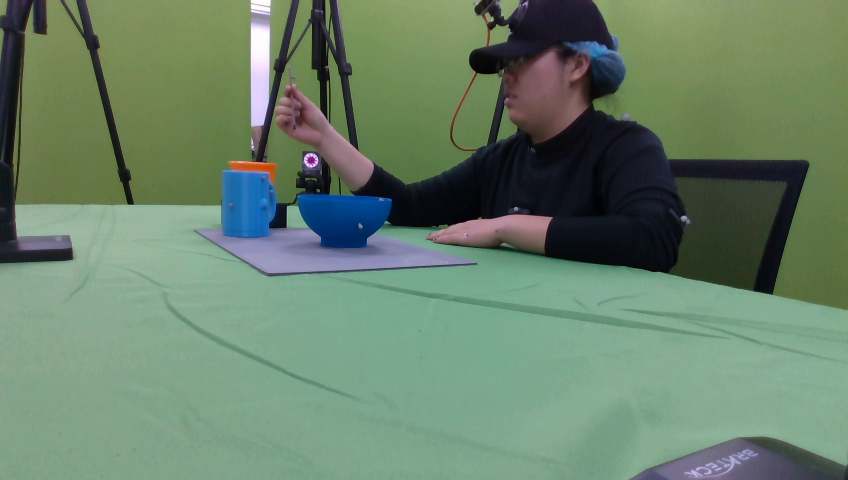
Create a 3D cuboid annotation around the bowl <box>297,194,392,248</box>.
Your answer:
[{"bbox_3d":[-0.127,-0.030,0.964,0.151,0.077,0.151,2,7,0],"label":"bowl"}]

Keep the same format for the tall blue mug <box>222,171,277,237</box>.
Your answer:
[{"bbox_3d":[-0.302,-0.064,1.043,0.078,0.108,0.107,1,7,-4],"label":"tall blue mug"}]

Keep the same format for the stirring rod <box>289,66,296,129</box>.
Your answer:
[{"bbox_3d":[-0.252,-0.276,1.162,0.006,0.014,0.175,-1,52,-16],"label":"stirring rod"}]
